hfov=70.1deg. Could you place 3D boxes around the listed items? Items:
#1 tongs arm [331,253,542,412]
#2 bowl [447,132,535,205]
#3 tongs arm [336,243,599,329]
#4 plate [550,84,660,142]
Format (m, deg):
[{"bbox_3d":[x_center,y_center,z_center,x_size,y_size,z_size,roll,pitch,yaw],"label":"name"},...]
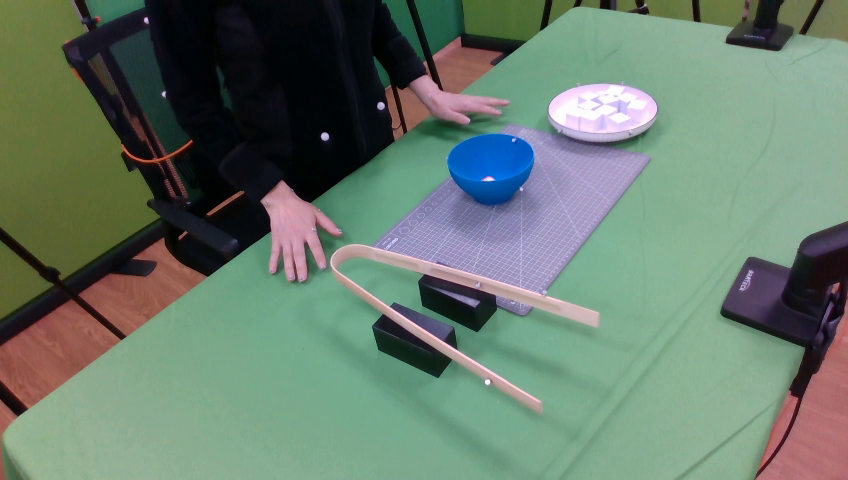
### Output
[{"bbox_3d":[-0.005,0.107,0.777,0.384,0.028,0.028,29,57,37],"label":"tongs arm"},{"bbox_3d":[0.119,-0.114,1.051,0.151,0.077,0.150,-6,40,5],"label":"bowl"},{"bbox_3d":[0.043,0.063,0.823,0.382,0.026,0.051,17,47,28],"label":"tongs arm"},{"bbox_3d":[0.355,-0.247,1.195,0.207,0.039,0.206,-5,39,5],"label":"plate"}]
